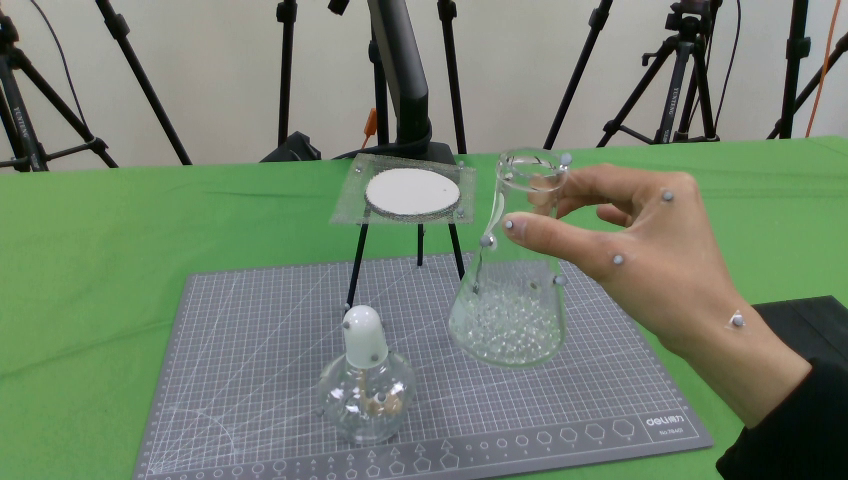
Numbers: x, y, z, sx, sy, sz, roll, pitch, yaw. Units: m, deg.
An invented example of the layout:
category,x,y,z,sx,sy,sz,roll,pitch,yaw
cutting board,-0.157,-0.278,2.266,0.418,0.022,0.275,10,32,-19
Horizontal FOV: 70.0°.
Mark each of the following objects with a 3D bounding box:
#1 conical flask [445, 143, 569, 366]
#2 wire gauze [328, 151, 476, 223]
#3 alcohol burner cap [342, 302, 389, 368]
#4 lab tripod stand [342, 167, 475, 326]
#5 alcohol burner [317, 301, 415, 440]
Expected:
category,x,y,z,sx,sy,sz,roll,pitch,yaw
conical flask,0.053,0.007,0.349,0.075,0.123,0.074,2,34,-1
wire gauze,-0.015,-0.048,0.550,0.121,0.011,0.124,4,34,3
alcohol burner cap,-0.045,0.068,0.449,0.034,0.048,0.033,-4,37,3
lab tripod stand,-0.009,0.007,0.588,0.148,0.132,0.147,3,33,-1
alcohol burner,-0.045,0.097,0.470,0.078,0.120,0.077,0,32,0
